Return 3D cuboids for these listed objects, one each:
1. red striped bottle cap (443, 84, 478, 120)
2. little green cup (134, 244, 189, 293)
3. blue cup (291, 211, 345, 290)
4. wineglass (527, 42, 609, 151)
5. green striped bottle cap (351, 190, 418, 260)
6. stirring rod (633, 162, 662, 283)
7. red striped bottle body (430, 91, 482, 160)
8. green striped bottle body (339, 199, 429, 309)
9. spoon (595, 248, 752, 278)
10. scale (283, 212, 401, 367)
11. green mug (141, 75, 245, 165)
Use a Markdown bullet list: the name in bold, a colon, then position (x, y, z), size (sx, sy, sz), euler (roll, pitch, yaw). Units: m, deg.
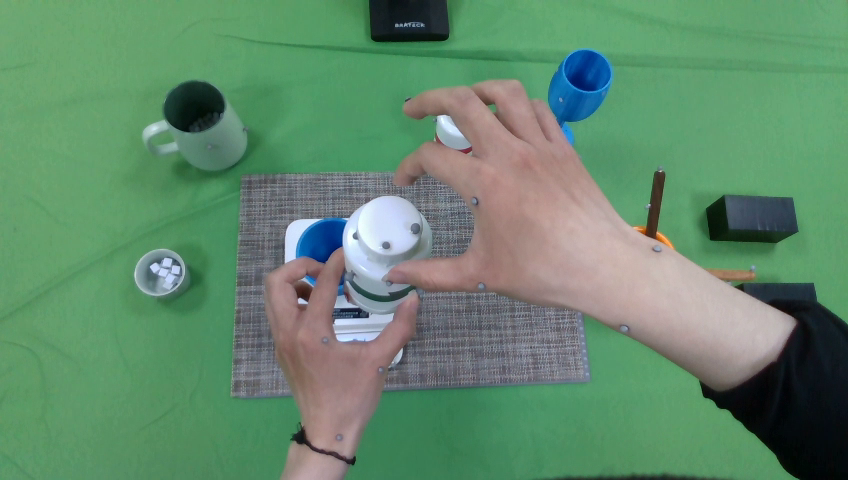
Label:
- **red striped bottle cap**: position (0.046, -0.176, 0.770), size (0.044, 0.018, 0.044), euler (1, 70, -3)
- **little green cup**: position (-0.333, 0.039, 0.775), size (0.061, 0.039, 0.061), euler (2, 73, -5)
- **blue cup**: position (-0.110, 0.021, 0.729), size (0.093, 0.100, 0.092), euler (2, 75, -6)
- **wineglass**: position (0.188, -0.187, 0.812), size (0.074, 0.173, 0.073), euler (1, 73, -3)
- **green striped bottle cap**: position (-0.026, -0.010, 0.402), size (0.044, 0.020, 0.044), euler (3, 65, -6)
- **stirring rod**: position (0.287, -0.018, 0.782), size (0.014, 0.177, 0.006), euler (3, 32, 11)
- **red striped bottle body**: position (0.043, -0.160, 0.821), size (0.063, 0.120, 0.062), euler (1, 73, -4)
- **green striped bottle body**: position (-0.031, 0.008, 0.450), size (0.063, 0.120, 0.063), euler (2, 70, -6)
- **spoon**: position (0.309, 0.032, 0.768), size (0.022, 0.192, 0.041), euler (22, 75, -43)
- **scale**: position (-0.108, 0.060, 0.786), size (0.149, 0.032, 0.199), euler (-3, 74, -5)
- **green mug**: position (-0.308, -0.151, 0.800), size (0.125, 0.105, 0.092), euler (-23, 76, -10)
